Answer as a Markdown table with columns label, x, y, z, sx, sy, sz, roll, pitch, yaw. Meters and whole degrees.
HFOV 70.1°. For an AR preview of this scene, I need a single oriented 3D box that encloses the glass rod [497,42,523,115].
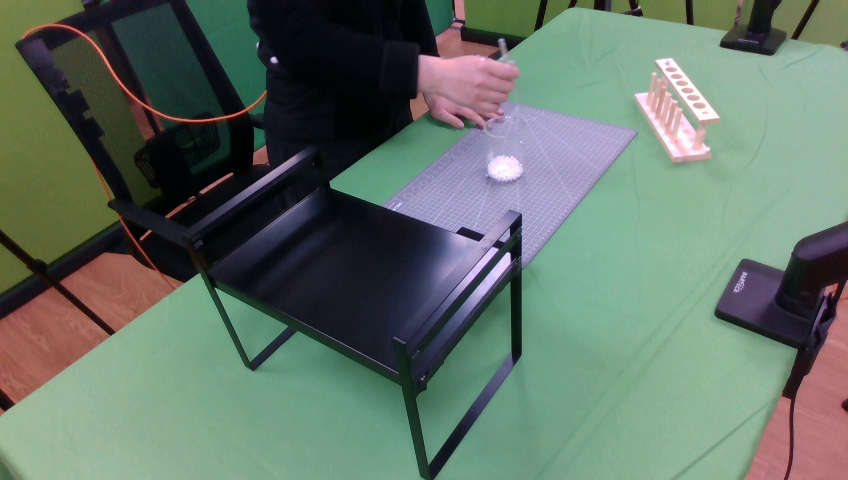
| label | x | y | z | sx | sy | sz | roll | pitch | yaw |
| --- | --- | --- | --- | --- | --- | --- | --- | --- | --- |
| glass rod | 0.135 | -0.243 | 0.935 | 0.008 | 0.201 | 0.008 | -6 | 70 | 17 |

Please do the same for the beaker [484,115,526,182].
| label | x | y | z | sx | sy | sz | roll | pitch | yaw |
| --- | --- | --- | --- | --- | --- | --- | --- | --- | --- |
| beaker | 0.147 | -0.162 | 1.080 | 0.073 | 0.101 | 0.084 | 13 | 44 | 22 |

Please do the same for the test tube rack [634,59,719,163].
| label | x | y | z | sx | sy | sz | roll | pitch | yaw |
| --- | --- | --- | --- | --- | --- | --- | --- | --- | --- |
| test tube rack | 0.470 | -0.250 | 1.148 | 0.067 | 0.085 | 0.241 | -6 | 40 | 3 |
